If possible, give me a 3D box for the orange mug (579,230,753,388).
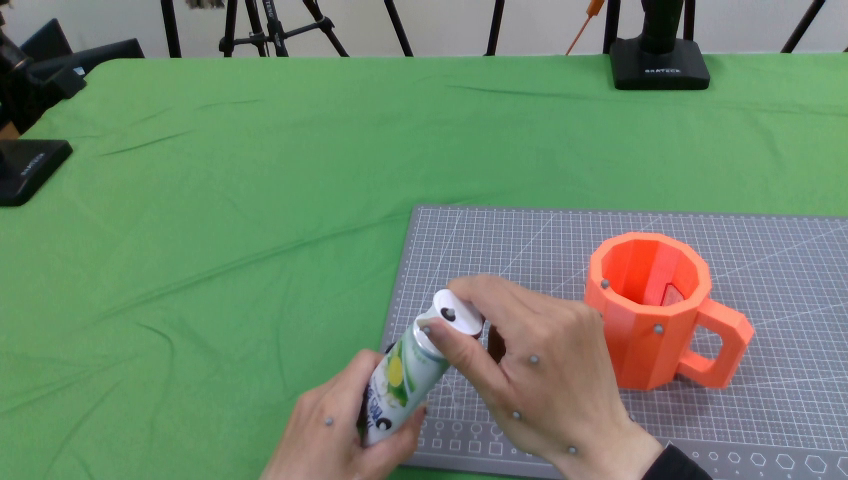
[{"bbox_3d":[0.184,0.061,0.474,0.125,0.102,0.083,25,52,34],"label":"orange mug"}]

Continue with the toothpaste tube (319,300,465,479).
[{"bbox_3d":[-0.024,0.097,0.400,0.035,0.165,0.054,14,33,-39],"label":"toothpaste tube"}]

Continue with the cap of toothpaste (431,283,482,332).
[{"bbox_3d":[0.018,0.042,0.365,0.037,0.011,0.037,28,31,-18],"label":"cap of toothpaste"}]
